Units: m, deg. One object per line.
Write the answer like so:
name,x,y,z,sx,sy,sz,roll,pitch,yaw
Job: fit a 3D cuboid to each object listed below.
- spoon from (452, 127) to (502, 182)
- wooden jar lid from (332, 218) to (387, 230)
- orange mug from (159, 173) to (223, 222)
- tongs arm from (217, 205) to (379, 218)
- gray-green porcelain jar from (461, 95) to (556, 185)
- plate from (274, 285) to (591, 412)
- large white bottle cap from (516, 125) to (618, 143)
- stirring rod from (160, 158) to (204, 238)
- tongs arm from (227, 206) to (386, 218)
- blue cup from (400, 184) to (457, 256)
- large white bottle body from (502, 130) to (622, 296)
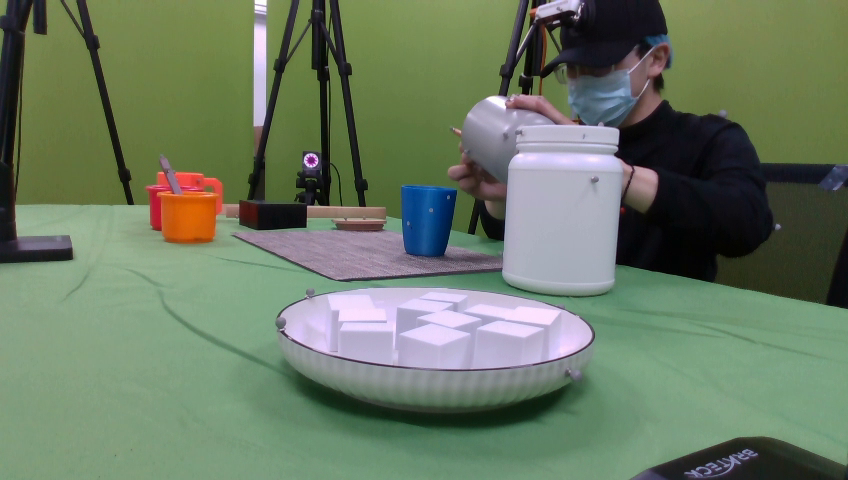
spoon,0.089,-0.127,0.888,0.042,0.021,0.193,8,31,-32
wooden jar lid,-0.129,-0.032,1.204,0.108,0.020,0.108,0,5,0
orange mug,-0.477,-0.089,1.241,0.127,0.101,0.083,-7,11,-33
tongs arm,-0.288,-0.068,1.435,0.389,0.027,0.028,0,-2,-17
gray-green porcelain jar,0.124,-0.136,0.843,0.106,0.106,0.126,-1,26,-24
plate,0.005,0.069,0.408,0.208,0.039,0.207,2,7,0
large white bottle cap,0.164,-0.120,0.695,0.115,0.018,0.115,2,8,0
stirring rod,-0.390,-0.070,0.972,0.014,0.006,0.175,-2,50,-49
tongs arm,-0.251,-0.063,1.360,0.387,0.026,0.050,-1,2,-31
blue cup,0.004,-0.030,0.901,0.093,0.100,0.092,4,9,0
large white bottle body,0.160,-0.036,0.707,0.131,0.184,0.130,2,7,0
